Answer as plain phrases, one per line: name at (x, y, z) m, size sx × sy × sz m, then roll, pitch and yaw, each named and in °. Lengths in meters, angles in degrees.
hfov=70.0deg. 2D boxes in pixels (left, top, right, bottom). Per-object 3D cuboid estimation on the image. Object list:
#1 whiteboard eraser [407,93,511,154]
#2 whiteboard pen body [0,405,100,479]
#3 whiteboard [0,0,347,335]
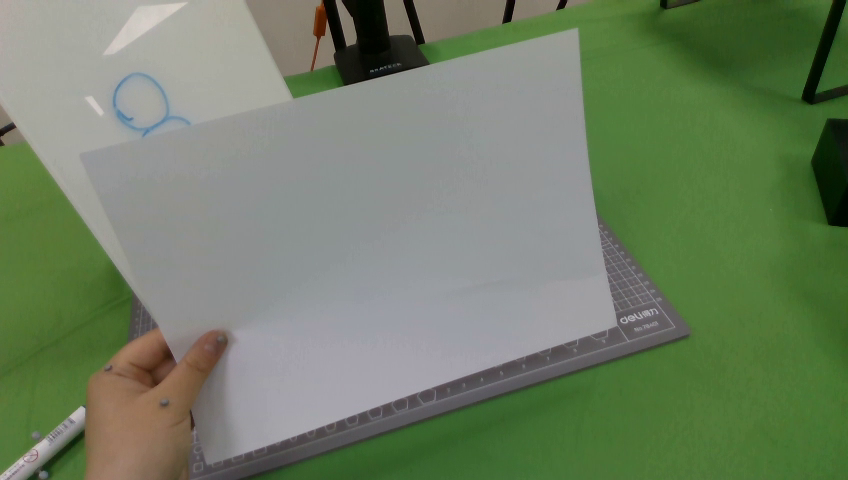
whiteboard eraser at (0.040, -0.133, 0.707) m, size 0.113 × 0.042 × 0.055 m, roll -18°, pitch 45°, yaw -10°
whiteboard pen body at (-0.302, 0.176, 0.443) m, size 0.017 × 0.017 × 0.140 m, roll 21°, pitch 48°, yaw 29°
whiteboard at (-0.252, -0.108, 0.580) m, size 0.217 × 0.308 × 0.142 m, roll -37°, pitch 29°, yaw -26°
